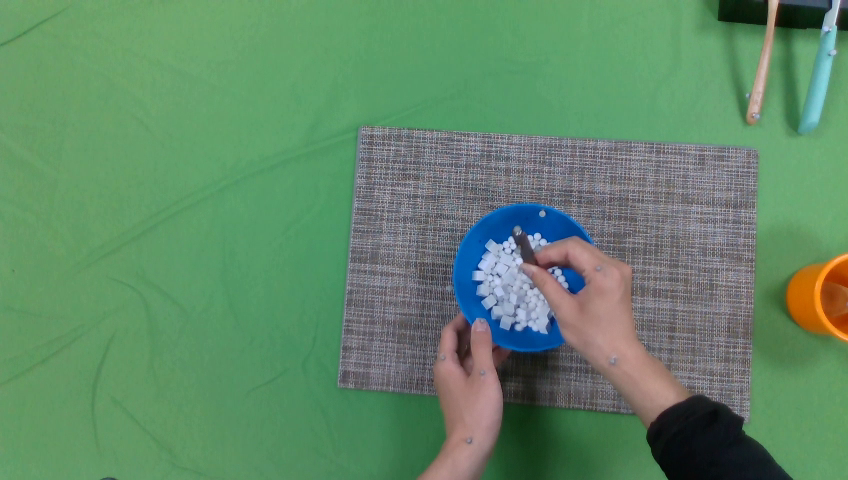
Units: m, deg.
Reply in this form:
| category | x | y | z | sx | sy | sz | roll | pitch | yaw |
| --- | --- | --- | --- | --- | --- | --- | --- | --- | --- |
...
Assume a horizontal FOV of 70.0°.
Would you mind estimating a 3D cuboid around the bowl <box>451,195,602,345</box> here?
| category | x | y | z | sx | sy | sz | roll | pitch | yaw |
| --- | --- | --- | --- | --- | --- | --- | --- | --- | --- |
| bowl | 0.104 | 0.034 | 0.641 | 0.151 | 0.077 | 0.151 | 0 | 85 | 3 |

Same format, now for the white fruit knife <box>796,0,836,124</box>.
| category | x | y | z | sx | sy | sz | roll | pitch | yaw |
| --- | --- | --- | --- | --- | --- | --- | --- | --- | --- |
| white fruit knife | 0.428 | -0.229 | 0.645 | 0.016 | 0.027 | 0.208 | 5 | 102 | 1 |

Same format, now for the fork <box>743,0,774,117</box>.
| category | x | y | z | sx | sy | sz | roll | pitch | yaw |
| --- | --- | --- | --- | --- | --- | --- | --- | --- | --- |
| fork | 0.366 | -0.238 | 0.650 | 0.028 | 0.018 | 0.208 | 1 | 105 | 1 |

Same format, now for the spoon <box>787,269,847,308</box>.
| category | x | y | z | sx | sy | sz | roll | pitch | yaw |
| --- | --- | --- | --- | --- | --- | --- | --- | --- | --- |
| spoon | 0.465 | 0.053 | 0.591 | 0.022 | 0.192 | 0.041 | 9 | 85 | -41 |

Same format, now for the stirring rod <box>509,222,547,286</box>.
| category | x | y | z | sx | sy | sz | roll | pitch | yaw |
| --- | --- | --- | --- | --- | --- | --- | --- | --- | --- |
| stirring rod | 0.101 | 0.018 | 0.578 | 0.014 | 0.178 | 0.006 | 14 | 75 | 22 |
